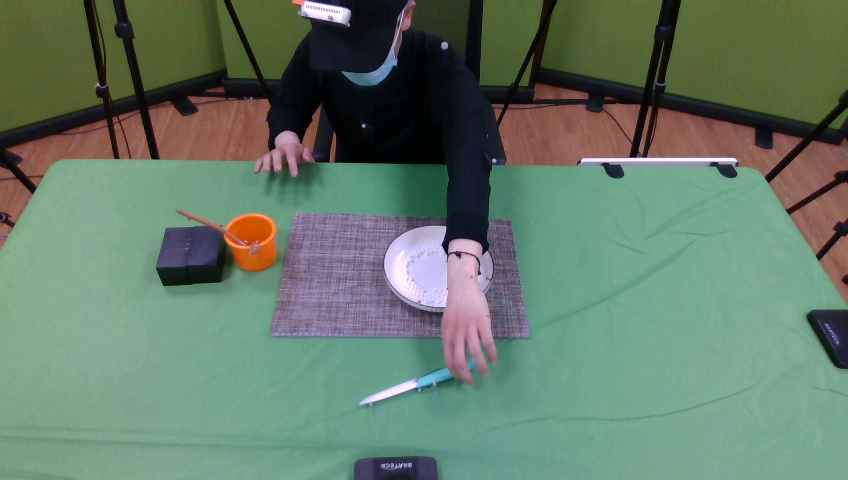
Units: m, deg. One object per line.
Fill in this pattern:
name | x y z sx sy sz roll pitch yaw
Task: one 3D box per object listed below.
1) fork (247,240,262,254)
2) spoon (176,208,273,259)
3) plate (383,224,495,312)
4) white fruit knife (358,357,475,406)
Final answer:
fork | -0.301 0.011 1.075 0.028 0.207 0.018 4 90 -15
spoon | -0.355 -0.010 1.088 0.041 0.195 0.021 22 78 54
plate | 0.027 0.055 1.128 0.209 0.038 0.208 2 46 -2
white fruit knife | -0.008 0.231 0.978 0.207 0.016 0.027 -16 24 -17
